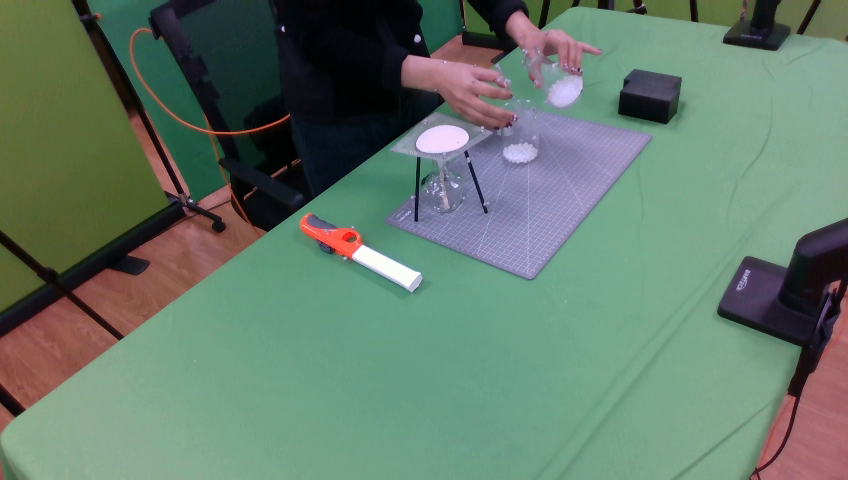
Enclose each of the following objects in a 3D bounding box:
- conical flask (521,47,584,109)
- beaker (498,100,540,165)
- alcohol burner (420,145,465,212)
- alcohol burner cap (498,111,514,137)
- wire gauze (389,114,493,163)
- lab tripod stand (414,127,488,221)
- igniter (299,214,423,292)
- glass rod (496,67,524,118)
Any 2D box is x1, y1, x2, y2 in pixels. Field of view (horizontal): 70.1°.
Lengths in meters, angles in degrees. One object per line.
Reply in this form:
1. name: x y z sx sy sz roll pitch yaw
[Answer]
1. conical flask: 0.223 -0.292 1.072 0.075 0.123 0.075 -27 50 37
2. beaker: 0.180 -0.196 1.117 0.074 0.101 0.083 -25 43 -17
3. alcohol burner: 0.030 -0.108 1.030 0.078 0.119 0.077 -5 38 4
4. alcohol burner cap: 0.163 -0.235 1.211 0.034 0.048 0.033 -6 39 6
5. wire gauze: 0.026 -0.164 0.977 0.120 0.011 0.125 23 49 35
6. lab tripod stand: 0.035 -0.114 1.021 0.148 0.132 0.147 -7 39 6
7. igniter: -0.112 0.016 0.983 0.274 0.025 0.057 26 62 35
8. glass rod: 0.150 -0.249 1.036 0.008 0.201 0.008 -4 77 20
